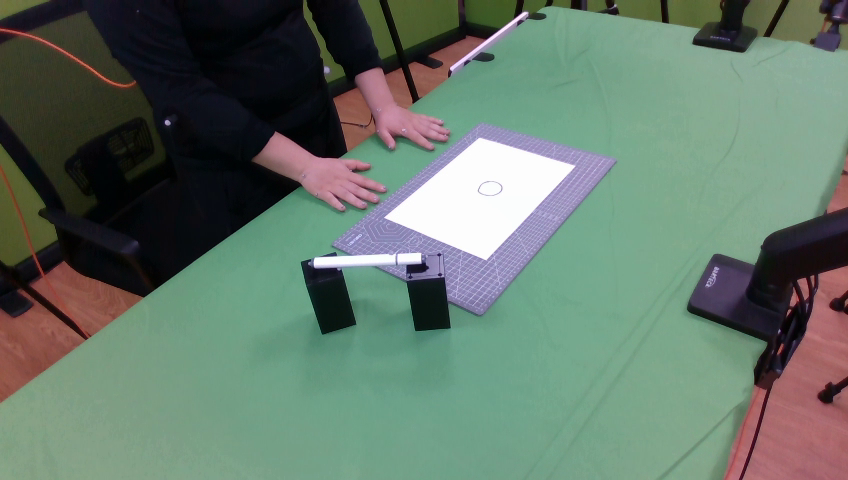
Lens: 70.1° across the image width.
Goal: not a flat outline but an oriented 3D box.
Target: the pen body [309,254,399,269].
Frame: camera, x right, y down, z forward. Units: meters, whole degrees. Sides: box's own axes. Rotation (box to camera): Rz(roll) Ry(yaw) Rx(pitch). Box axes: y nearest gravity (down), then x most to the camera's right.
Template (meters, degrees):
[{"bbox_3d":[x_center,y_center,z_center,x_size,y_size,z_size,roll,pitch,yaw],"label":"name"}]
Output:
[{"bbox_3d":[-0.079,0.029,0.797,0.144,0.017,0.017,-3,40,5],"label":"pen body"}]

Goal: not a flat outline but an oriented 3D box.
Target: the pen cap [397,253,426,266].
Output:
[{"bbox_3d":[-0.016,0.026,0.791,0.038,0.017,0.017,-3,40,3],"label":"pen cap"}]
